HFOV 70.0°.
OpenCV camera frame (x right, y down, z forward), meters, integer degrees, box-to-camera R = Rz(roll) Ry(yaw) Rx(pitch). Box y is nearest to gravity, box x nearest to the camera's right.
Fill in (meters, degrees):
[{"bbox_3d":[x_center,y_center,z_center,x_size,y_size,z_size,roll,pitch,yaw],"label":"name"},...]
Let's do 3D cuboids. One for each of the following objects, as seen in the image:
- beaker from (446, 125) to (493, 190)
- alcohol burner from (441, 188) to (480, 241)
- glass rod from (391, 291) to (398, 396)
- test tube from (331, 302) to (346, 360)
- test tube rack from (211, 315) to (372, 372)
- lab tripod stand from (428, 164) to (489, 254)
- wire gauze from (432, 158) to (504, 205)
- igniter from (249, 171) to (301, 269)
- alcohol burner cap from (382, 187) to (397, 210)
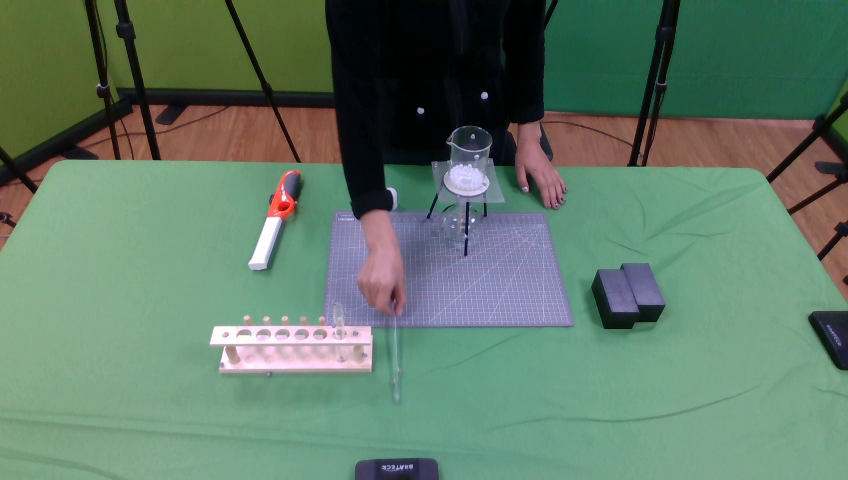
[{"bbox_3d":[0.079,-0.147,1.106,0.084,0.101,0.073,-3,47,-6],"label":"beaker"},{"bbox_3d":[0.073,-0.055,1.189,0.078,0.120,0.077,1,47,-1],"label":"alcohol burner"},{"bbox_3d":[-0.050,0.171,1.024,0.008,0.008,0.198,-1,52,-4],"label":"glass rod"},{"bbox_3d":[-0.132,0.144,0.937,0.017,0.151,0.017,2,49,-3],"label":"test tube"},{"bbox_3d":[-0.208,0.164,0.982,0.242,0.085,0.066,1,46,-4],"label":"test tube rack"},{"bbox_3d":[0.078,-0.068,1.188,0.148,0.132,0.147,3,47,-3],"label":"lab tripod stand"},{"bbox_3d":[0.081,-0.111,1.138,0.125,0.011,0.120,0,48,-7],"label":"wire gauze"},{"bbox_3d":[-0.297,-0.049,1.220,0.057,0.025,0.275,-2,45,9],"label":"igniter"},{"bbox_3d":[-0.072,-0.090,1.266,0.034,0.048,0.033,3,47,-2],"label":"alcohol burner cap"}]
